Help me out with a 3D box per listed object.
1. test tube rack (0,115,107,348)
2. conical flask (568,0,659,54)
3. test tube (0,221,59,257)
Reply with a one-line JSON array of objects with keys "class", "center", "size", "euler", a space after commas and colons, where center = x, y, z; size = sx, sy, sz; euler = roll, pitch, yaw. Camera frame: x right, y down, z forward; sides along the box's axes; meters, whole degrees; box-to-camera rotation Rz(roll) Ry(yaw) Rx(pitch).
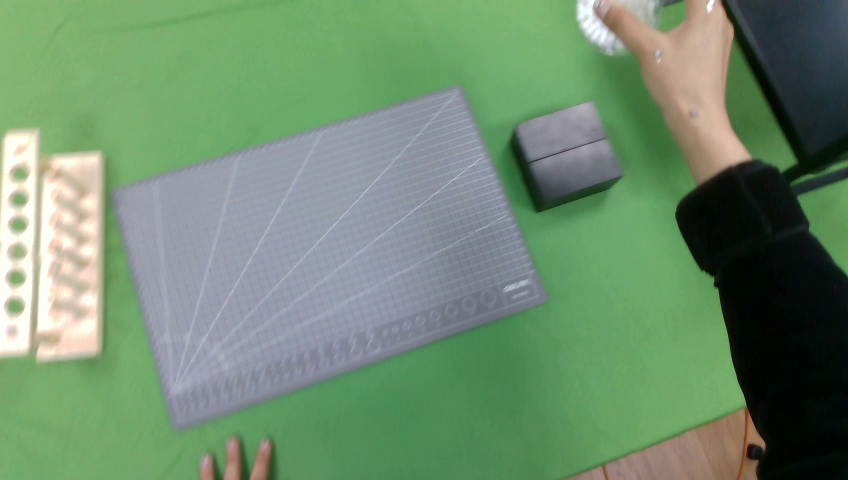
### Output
[{"class": "test tube rack", "center": [-0.405, -0.008, 0.666], "size": [0.067, 0.085, 0.241], "euler": [-4, 78, -4]}, {"class": "conical flask", "center": [0.164, -0.205, 0.472], "size": [0.075, 0.122, 0.075], "euler": [1, 80, -3]}, {"class": "test tube", "center": [-0.421, -0.006, 0.615], "size": [0.017, 0.151, 0.017], "euler": [0, 75, 1]}]
